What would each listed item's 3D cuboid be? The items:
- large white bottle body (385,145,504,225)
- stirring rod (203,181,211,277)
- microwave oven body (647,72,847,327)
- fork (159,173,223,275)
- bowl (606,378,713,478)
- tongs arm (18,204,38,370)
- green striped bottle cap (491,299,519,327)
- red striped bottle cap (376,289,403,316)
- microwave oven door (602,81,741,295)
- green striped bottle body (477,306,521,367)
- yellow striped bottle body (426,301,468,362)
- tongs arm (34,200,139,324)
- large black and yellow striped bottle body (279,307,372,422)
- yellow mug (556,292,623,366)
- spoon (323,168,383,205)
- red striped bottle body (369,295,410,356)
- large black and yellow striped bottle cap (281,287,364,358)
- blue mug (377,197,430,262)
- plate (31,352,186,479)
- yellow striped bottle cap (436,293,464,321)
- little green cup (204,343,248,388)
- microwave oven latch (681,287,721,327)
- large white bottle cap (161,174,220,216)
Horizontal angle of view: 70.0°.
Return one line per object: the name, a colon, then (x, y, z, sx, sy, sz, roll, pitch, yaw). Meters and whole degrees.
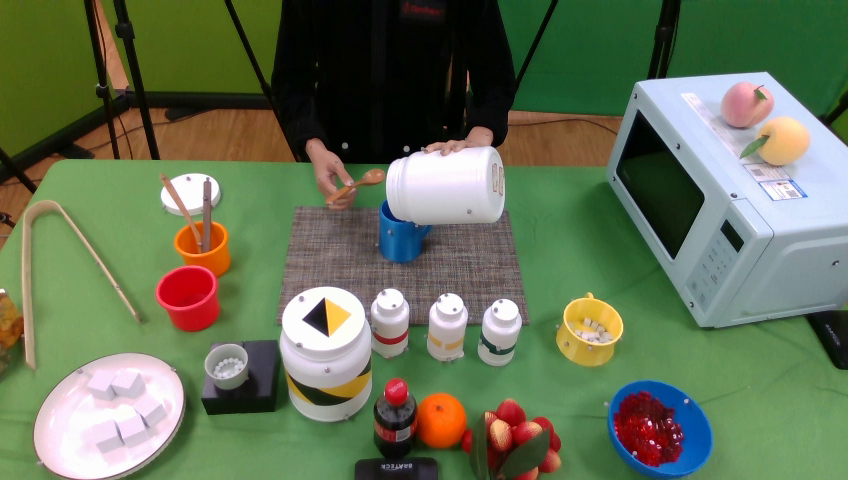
large white bottle body: (0.036, -0.092, 1.052, 0.184, 0.131, 0.130, -1, 43, 22)
stirring rod: (-0.396, -0.021, 1.107, 0.014, 0.006, 0.176, -1, 89, -1)
microwave oven body: (0.607, -0.089, 1.164, 0.326, 0.261, 0.438, -7, 46, -10)
fork: (-0.427, -0.029, 1.103, 0.028, 0.018, 0.207, -31, 99, -29)
bowl: (0.340, 0.292, 0.906, 0.151, 0.077, 0.150, 2, 46, -2)
tongs arm: (-0.698, 0.070, 1.069, 0.028, 0.028, 0.385, -21, 51, -13)
green striped bottle cap: (0.128, 0.115, 0.958, 0.044, 0.020, 0.044, 1, 47, -1)
red striped bottle cap: (-0.054, 0.098, 0.958, 0.044, 0.018, 0.044, 0, 48, 1)
microwave oven door: (0.456, -0.107, 1.162, 0.039, 0.245, 0.353, -6, 47, -11)
green striped bottle body: (0.124, 0.151, 0.995, 0.063, 0.120, 0.063, 2, 46, -2)
yellow striped bottle body: (0.037, 0.142, 0.996, 0.063, 0.121, 0.062, 3, 46, -3)
tongs arm: (-0.622, 0.034, 1.105, 0.051, 0.026, 0.382, -32, 56, -25)
large black and yellow striped bottle body: (-0.145, 0.173, 0.908, 0.131, 0.185, 0.130, 2, 46, -2)
yellow mug: (0.285, 0.145, 1.051, 0.100, 0.064, 0.130, 7, 45, 3)
spoon: (-0.133, -0.101, 1.125, 0.041, 0.022, 0.193, 23, 27, 17)
red striped bottle body: (-0.059, 0.135, 0.997, 0.063, 0.120, 0.062, 6, 49, -6)
large black and yellow striped bottle cap: (-0.141, 0.112, 0.847, 0.115, 0.019, 0.114, 5, 45, -4)
blue mug: (-0.033, -0.029, 1.159, 0.116, 0.106, 0.082, -22, 52, -23)
plate: (-0.459, 0.262, 0.898, 0.209, 0.038, 0.208, 2, 46, -2)
yellow striped bottle cap: (0.041, 0.106, 0.959, 0.044, 0.019, 0.044, -1, 50, 1)
little green cup: (-0.294, 0.190, 0.909, 0.061, 0.039, 0.061, 1, 48, 0)
microwave oven latch: (0.494, 0.119, 1.087, 0.030, 0.029, 0.078, -5, 46, -9)
large white bottle cap: (-0.483, -0.095, 1.253, 0.115, 0.018, 0.114, 2, 46, -2)
